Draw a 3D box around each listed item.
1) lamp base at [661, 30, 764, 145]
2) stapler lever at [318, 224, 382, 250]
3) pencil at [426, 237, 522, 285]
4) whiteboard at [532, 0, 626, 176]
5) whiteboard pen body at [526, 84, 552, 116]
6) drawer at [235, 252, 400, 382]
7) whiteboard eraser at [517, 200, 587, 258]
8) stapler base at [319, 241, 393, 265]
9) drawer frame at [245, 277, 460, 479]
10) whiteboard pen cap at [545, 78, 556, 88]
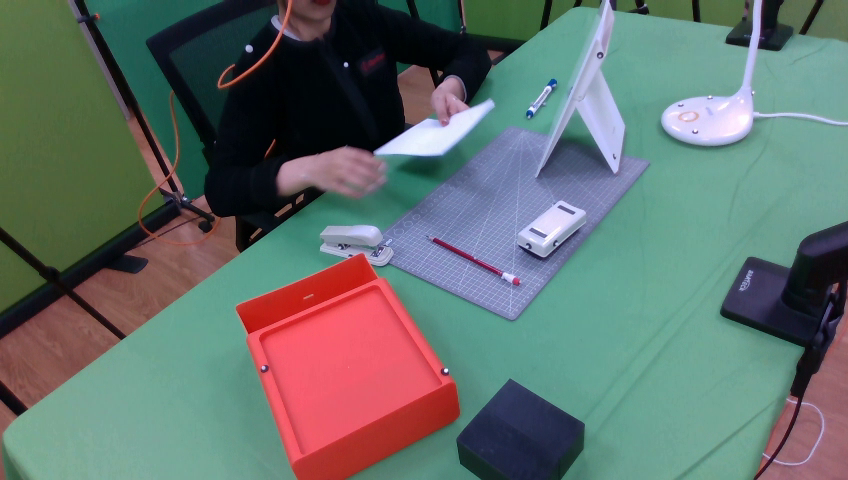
[{"bbox_3d":[0.535,-0.287,1.096,0.179,0.181,0.159,-10,40,-4],"label":"lamp base"},{"bbox_3d":[-0.120,-0.010,0.972,0.117,0.040,0.027,11,44,27],"label":"stapler lever"},{"bbox_3d":[0.072,0.028,0.941,0.192,0.012,0.012,26,52,37],"label":"pencil"},{"bbox_3d":[0.321,-0.258,1.050,0.144,0.306,0.217,22,45,5],"label":"whiteboard"},{"bbox_3d":[0.251,-0.305,1.297,0.017,0.017,0.141,15,45,26],"label":"whiteboard pen body"},{"bbox_3d":[-0.125,0.132,0.804,0.195,0.073,0.210,-23,42,-17],"label":"drawer"},{"bbox_3d":[0.201,-0.016,0.943,0.113,0.042,0.055,-37,46,-29],"label":"whiteboard eraser"},{"bbox_3d":[-0.114,0.009,0.988,0.129,0.024,0.041,12,44,27],"label":"stapler base"},{"bbox_3d":[-0.093,0.167,0.755,0.202,0.083,0.211,-23,43,-17],"label":"drawer frame"},{"bbox_3d":[0.280,-0.344,1.335,0.018,0.018,0.033,15,45,25],"label":"whiteboard pen cap"}]
